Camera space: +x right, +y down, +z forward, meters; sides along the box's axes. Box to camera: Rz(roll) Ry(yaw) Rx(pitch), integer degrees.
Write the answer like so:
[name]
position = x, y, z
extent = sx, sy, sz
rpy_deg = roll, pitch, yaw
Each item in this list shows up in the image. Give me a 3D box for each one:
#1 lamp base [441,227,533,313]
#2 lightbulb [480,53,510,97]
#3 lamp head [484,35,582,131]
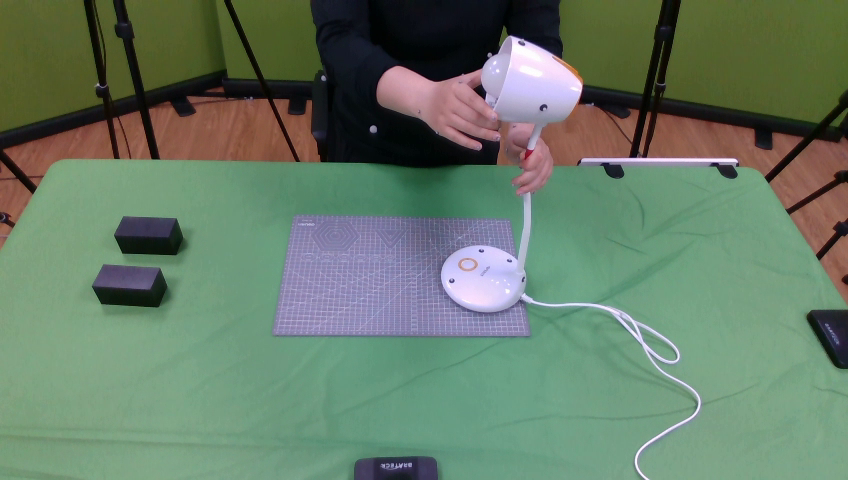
[lamp base]
position = 0.126, 0.021, 1.072
extent = 0.179, 0.181, 0.160
rpy_deg = 22, 49, 13
[lightbulb]
position = 0.129, -0.221, 0.839
extent = 0.108, 0.060, 0.059
rpy_deg = 16, 44, -12
[lamp head]
position = 0.152, -0.207, 0.835
extent = 0.123, 0.113, 0.112
rpy_deg = 17, 44, -12
